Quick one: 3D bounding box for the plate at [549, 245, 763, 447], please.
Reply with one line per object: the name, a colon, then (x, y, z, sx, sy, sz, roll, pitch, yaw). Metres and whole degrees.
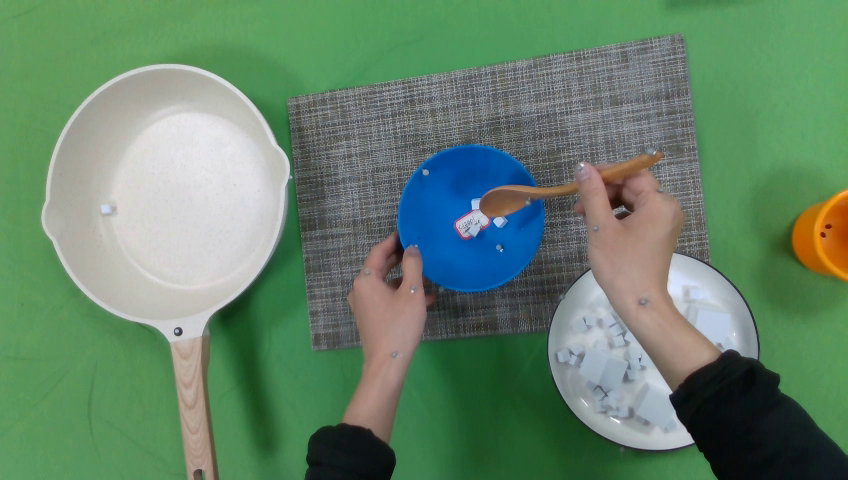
plate: (0.236, 0.108, 0.633, 0.207, 0.039, 0.207, 0, 92, 10)

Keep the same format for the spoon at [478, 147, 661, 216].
spoon: (0.120, -0.048, 0.533, 0.042, 0.193, 0.021, 31, 65, -31)

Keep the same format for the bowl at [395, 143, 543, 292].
bowl: (0.050, -0.022, 0.644, 0.151, 0.077, 0.151, 0, 90, 10)

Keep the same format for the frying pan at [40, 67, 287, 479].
frying pan: (-0.274, 0.052, 0.687, 0.306, 0.103, 0.485, -11, 79, 10)
